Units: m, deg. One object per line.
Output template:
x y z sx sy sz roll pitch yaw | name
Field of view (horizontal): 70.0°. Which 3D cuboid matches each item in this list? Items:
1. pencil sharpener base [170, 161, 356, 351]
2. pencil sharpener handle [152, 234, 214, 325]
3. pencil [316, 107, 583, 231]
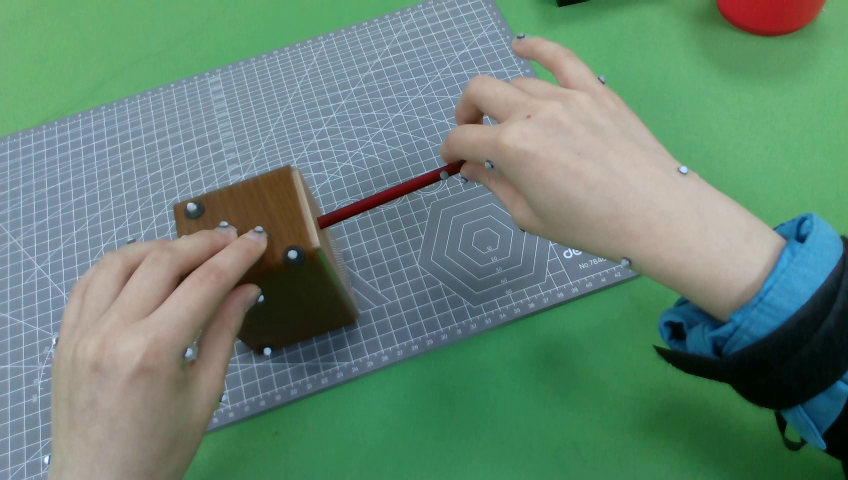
-0.092 0.015 0.360 0.077 0.108 0.061 -19 62 -3 | pencil sharpener base
-0.141 0.027 0.345 0.030 0.068 0.035 -19 56 -3 | pencil sharpener handle
0.002 -0.035 0.342 0.194 0.012 0.012 -23 62 -4 | pencil
